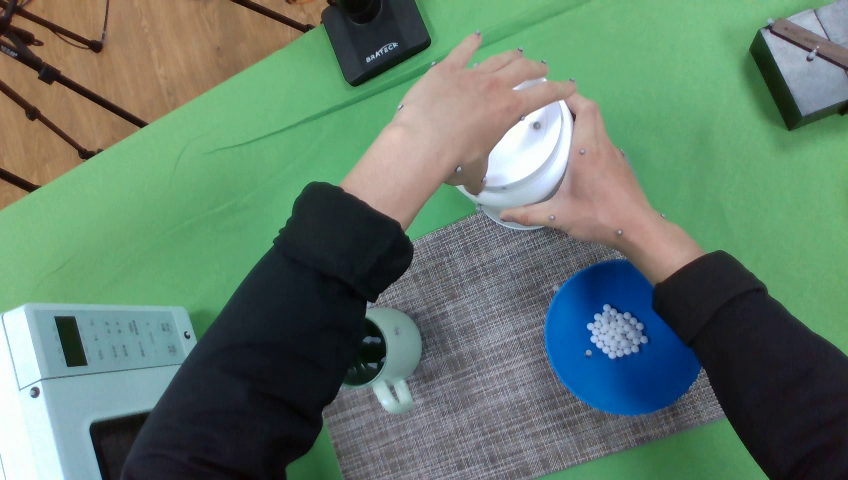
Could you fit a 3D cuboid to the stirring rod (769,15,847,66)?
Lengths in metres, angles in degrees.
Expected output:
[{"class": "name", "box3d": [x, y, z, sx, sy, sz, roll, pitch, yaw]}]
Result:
[{"class": "stirring rod", "box3d": [0.408, -0.167, 0.569, 0.175, 0.006, 0.014, 36, 130, 17]}]

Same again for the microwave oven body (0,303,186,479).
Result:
[{"class": "microwave oven body", "box3d": [-0.413, 0.333, 0.692, 0.326, 0.261, 0.439, -25, 78, 13]}]

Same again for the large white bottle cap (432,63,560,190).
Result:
[{"class": "large white bottle cap", "box3d": [0.063, -0.101, 0.539, 0.114, 0.018, 0.114, -3, 81, 18]}]

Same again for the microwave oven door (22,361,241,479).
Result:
[{"class": "microwave oven door", "box3d": [-0.271, 0.310, 0.645, 0.039, 0.245, 0.354, -26, 77, 13]}]

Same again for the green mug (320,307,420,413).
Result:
[{"class": "green mug", "box3d": [-0.051, 0.136, 0.681, 0.092, 0.105, 0.124, -32, 76, 11]}]

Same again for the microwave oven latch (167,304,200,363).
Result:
[{"class": "microwave oven latch", "box3d": [-0.319, 0.122, 0.786, 0.030, 0.029, 0.079, -24, 79, 13]}]

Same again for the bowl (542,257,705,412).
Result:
[{"class": "bowl", "box3d": [0.202, 0.095, 0.621, 0.151, 0.077, 0.151, -2, 84, 18]}]

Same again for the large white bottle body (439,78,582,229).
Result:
[{"class": "large white bottle body", "box3d": [0.090, -0.089, 0.619, 0.130, 0.186, 0.130, -3, 81, 17]}]
